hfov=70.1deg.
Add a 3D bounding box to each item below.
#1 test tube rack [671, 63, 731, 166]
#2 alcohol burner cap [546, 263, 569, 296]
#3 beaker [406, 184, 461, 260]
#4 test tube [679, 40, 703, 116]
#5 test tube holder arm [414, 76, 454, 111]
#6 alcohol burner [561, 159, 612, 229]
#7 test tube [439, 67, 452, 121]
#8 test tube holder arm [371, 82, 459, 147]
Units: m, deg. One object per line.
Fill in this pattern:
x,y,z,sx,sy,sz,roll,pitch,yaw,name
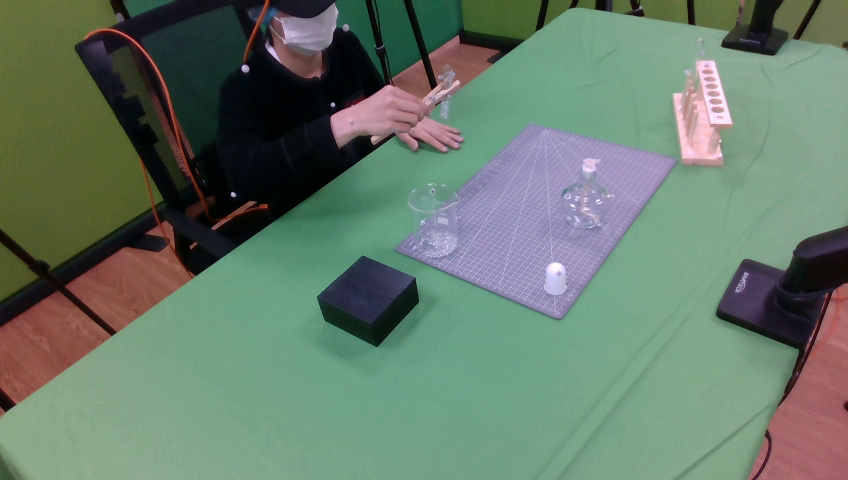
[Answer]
0.513,-0.241,1.132,0.066,0.085,0.242,4,41,14,test tube rack
0.191,0.053,0.862,0.034,0.048,0.033,-5,40,4,alcohol burner cap
0.019,-0.026,0.939,0.084,0.101,0.074,1,41,9,beaker
0.502,-0.303,1.138,0.017,0.151,0.017,-3,40,3,test tube
0.016,-0.237,0.994,0.010,0.015,0.088,41,74,15,test tube holder arm
0.257,-0.077,0.951,0.078,0.119,0.077,-3,40,3,alcohol burner
0.035,-0.243,1.019,0.017,0.150,0.017,0,72,-1,test tube
-0.014,-0.205,0.981,0.179,0.015,0.013,-38,72,-14,test tube holder arm
